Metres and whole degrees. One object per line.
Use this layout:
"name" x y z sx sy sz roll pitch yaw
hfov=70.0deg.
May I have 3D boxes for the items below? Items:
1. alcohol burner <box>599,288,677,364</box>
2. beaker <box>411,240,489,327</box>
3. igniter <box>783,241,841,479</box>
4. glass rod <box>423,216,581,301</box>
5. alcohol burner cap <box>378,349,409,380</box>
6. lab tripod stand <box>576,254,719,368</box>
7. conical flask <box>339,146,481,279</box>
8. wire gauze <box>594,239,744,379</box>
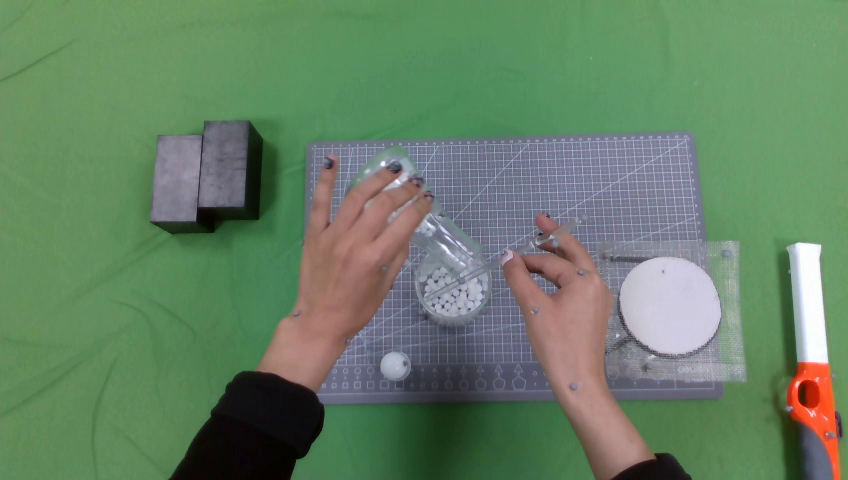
"alcohol burner" 0.217 0.084 0.602 0.078 0.119 0.077 -1 77 4
"beaker" 0.028 0.048 0.622 0.074 0.101 0.083 22 78 6
"igniter" 0.402 0.136 0.633 0.057 0.025 0.275 5 78 -8
"glass rod" 0.059 0.021 0.529 0.008 0.199 0.008 19 57 -31
"alcohol burner cap" -0.033 0.130 0.635 0.034 0.048 0.033 0 78 0
"lab tripod stand" 0.215 0.075 0.594 0.148 0.132 0.147 0 79 2
"conical flask" -0.007 -0.020 0.529 0.121 0.075 0.075 41 81 5
"wire gauze" 0.214 0.058 0.528 0.125 0.011 0.121 1 79 3
